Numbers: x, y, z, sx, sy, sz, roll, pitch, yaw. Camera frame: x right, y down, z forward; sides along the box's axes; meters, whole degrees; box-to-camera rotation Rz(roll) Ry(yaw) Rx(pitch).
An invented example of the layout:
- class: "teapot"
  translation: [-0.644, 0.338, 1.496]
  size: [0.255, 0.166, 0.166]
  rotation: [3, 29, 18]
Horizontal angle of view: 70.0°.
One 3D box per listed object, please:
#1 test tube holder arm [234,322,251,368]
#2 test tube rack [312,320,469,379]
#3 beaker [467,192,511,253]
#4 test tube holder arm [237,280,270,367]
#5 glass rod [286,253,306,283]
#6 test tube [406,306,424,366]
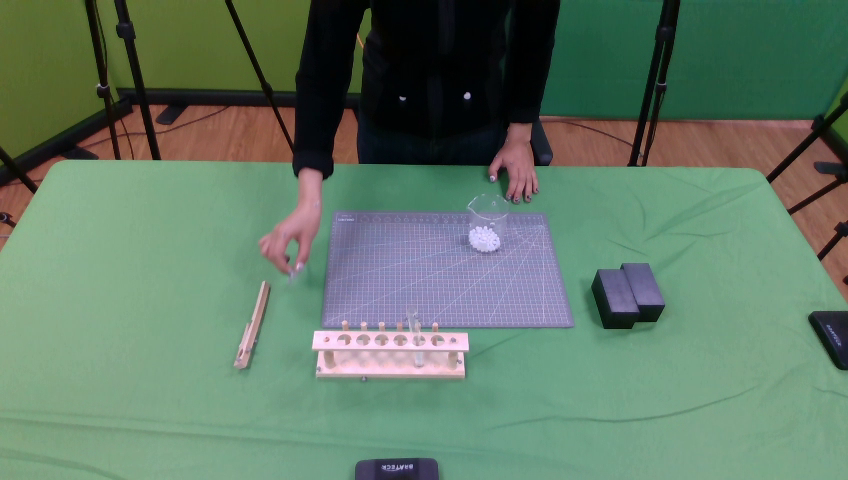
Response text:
- class: "test tube holder arm"
  translation: [-0.299, 0.173, 1.013]
  size: [0.010, 0.015, 0.087]
  rotation: [-17, 41, 23]
- class: "test tube rack"
  translation: [-0.054, 0.173, 0.984]
  size: [0.242, 0.085, 0.066]
  rotation: [1, 46, -3]
- class: "beaker"
  translation: [0.121, -0.031, 1.179]
  size: [0.084, 0.101, 0.073]
  rotation: [3, 46, 0]
- class: "test tube holder arm"
  translation: [-0.291, 0.140, 1.042]
  size: [0.013, 0.015, 0.177]
  rotation: [-18, 41, 22]
- class: "glass rod"
  translation: [-0.223, 0.047, 1.065]
  size: [0.008, 0.008, 0.199]
  rotation: [0, 12, -3]
- class: "test tube"
  translation: [-0.013, 0.152, 0.939]
  size: [0.017, 0.151, 0.017]
  rotation: [-3, 48, 3]
